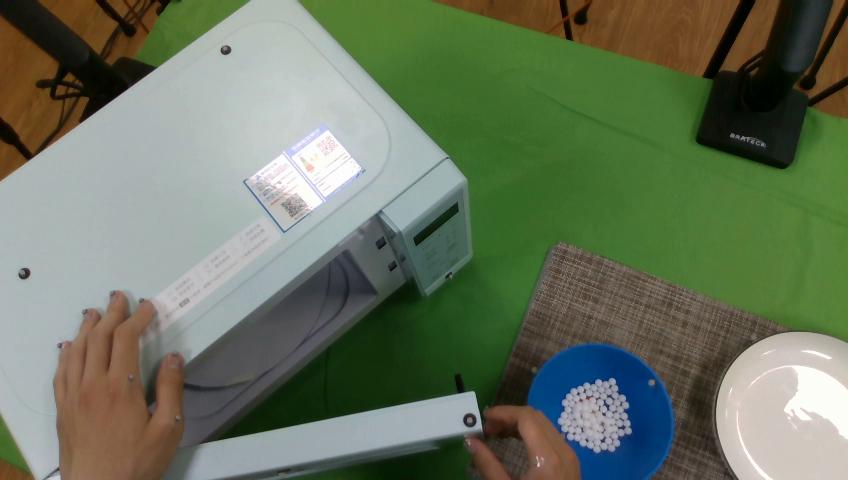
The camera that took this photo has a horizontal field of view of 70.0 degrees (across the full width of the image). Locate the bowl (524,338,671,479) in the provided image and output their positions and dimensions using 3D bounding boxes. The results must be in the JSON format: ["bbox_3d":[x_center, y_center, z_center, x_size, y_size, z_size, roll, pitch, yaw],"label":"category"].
[{"bbox_3d":[0.183,0.188,0.664,0.151,0.077,0.150,-2,72,5],"label":"bowl"}]

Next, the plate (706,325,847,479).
[{"bbox_3d":[0.413,0.199,0.661,0.207,0.039,0.206,-2,72,5],"label":"plate"}]

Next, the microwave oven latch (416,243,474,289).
[{"bbox_3d":[0.025,0.024,0.740,0.079,0.030,0.030,-38,73,-6],"label":"microwave oven latch"}]

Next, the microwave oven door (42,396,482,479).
[{"bbox_3d":[-0.120,0.200,0.587,0.356,0.245,0.039,-11,71,1],"label":"microwave oven door"}]

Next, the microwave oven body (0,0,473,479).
[{"bbox_3d":[-0.215,0.000,0.668,0.441,0.262,0.324,-40,73,-7],"label":"microwave oven body"}]
